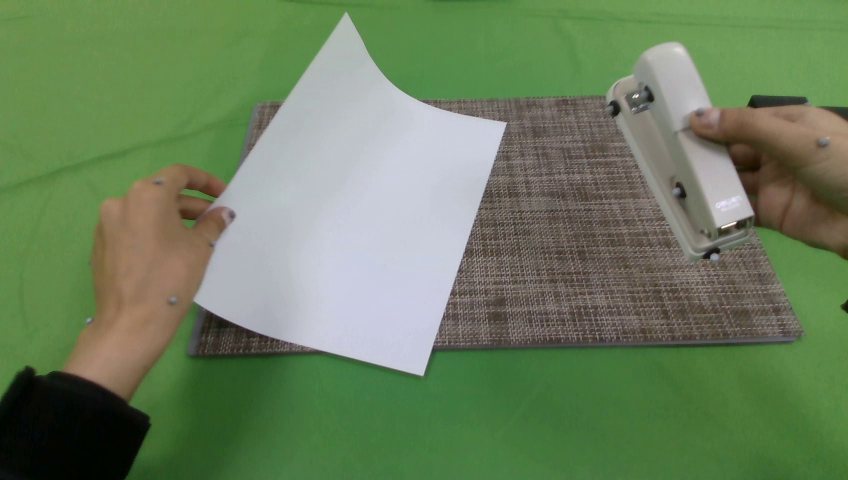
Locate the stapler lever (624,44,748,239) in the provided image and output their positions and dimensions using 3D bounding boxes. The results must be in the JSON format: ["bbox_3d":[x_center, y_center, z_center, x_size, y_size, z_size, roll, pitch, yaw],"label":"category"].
[{"bbox_3d":[0.152,-0.060,0.353,0.027,0.040,0.117,-21,72,2],"label":"stapler lever"}]

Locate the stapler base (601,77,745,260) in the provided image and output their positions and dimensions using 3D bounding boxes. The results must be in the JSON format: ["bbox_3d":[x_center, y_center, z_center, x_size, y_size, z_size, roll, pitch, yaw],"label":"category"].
[{"bbox_3d":[0.154,-0.054,0.376,0.041,0.024,0.129,-21,72,2],"label":"stapler base"}]
